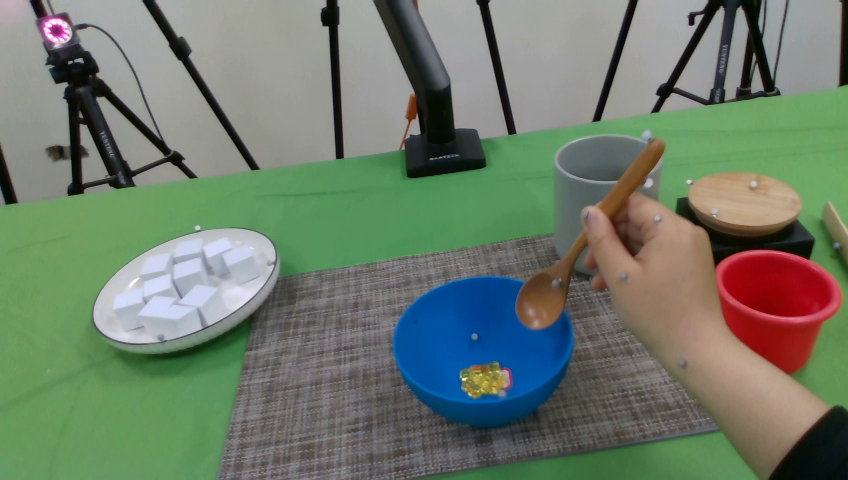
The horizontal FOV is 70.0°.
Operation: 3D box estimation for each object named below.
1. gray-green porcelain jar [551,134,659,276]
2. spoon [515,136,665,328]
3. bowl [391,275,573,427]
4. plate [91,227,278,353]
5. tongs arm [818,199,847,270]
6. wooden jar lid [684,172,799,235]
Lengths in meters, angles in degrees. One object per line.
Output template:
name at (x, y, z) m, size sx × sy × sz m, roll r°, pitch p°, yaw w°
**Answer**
gray-green porcelain jar at (0.190, -0.033, 0.649) m, size 0.106 × 0.127 × 0.105 m, roll -6°, pitch 35°, yaw 4°
spoon at (0.115, 0.002, 0.439) m, size 0.022 × 0.195 × 0.041 m, roll -16°, pitch 58°, yaw -32°
bowl at (0.051, 0.106, 0.522) m, size 0.151 × 0.077 × 0.150 m, roll -6°, pitch 35°, yaw 4°
plate at (-0.269, 0.058, 0.699) m, size 0.209 × 0.038 × 0.207 m, roll -6°, pitch 35°, yaw 5°
tongs arm at (0.426, 0.075, 0.538) m, size 0.028 × 0.028 × 0.384 m, roll 1°, pitch 36°, yaw 10°
wooden jar lid at (0.331, -0.038, 0.638) m, size 0.108 × 0.021 × 0.107 m, roll -6°, pitch 35°, yaw 5°
